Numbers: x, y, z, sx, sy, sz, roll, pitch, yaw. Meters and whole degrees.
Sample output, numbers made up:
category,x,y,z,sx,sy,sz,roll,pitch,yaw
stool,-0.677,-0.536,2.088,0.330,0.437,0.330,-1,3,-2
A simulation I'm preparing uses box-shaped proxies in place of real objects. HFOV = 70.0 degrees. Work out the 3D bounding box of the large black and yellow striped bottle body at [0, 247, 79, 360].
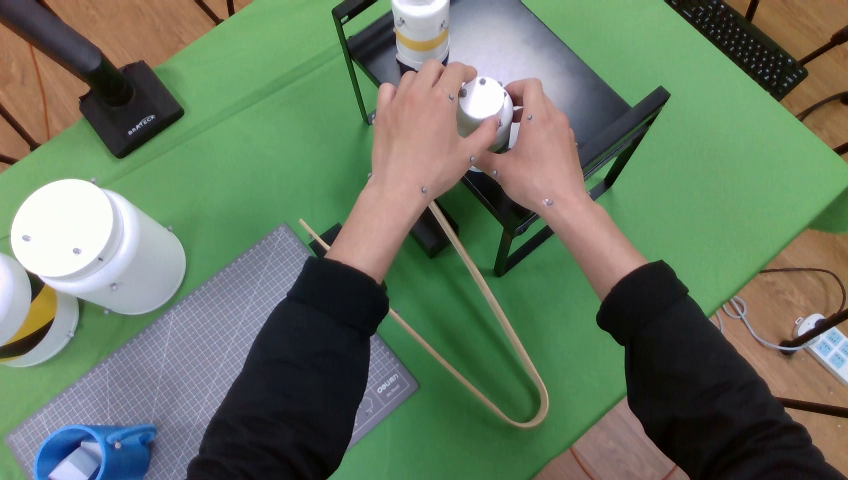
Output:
category,x,y,z,sx,sy,sz,roll,pitch,yaw
large black and yellow striped bottle body,-0.534,0.073,0.737,0.131,0.185,0.130,0,73,2

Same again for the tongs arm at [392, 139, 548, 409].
category,x,y,z,sx,sy,sz,roll,pitch,yaw
tongs arm,0.057,0.039,0.772,0.028,0.028,0.387,-30,87,-15

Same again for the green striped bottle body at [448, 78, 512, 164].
category,x,y,z,sx,sy,sz,roll,pitch,yaw
green striped bottle body,0.057,-0.126,0.618,0.063,0.120,0.063,-1,77,5

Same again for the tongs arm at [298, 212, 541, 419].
category,x,y,z,sx,sy,sz,roll,pitch,yaw
tongs arm,-0.006,0.089,0.757,0.050,0.026,0.384,-44,89,-12

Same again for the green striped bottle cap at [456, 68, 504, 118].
category,x,y,z,sx,sy,sz,roll,pitch,yaw
green striped bottle cap,0.053,-0.138,0.569,0.044,0.020,0.044,-1,85,6

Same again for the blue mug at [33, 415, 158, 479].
category,x,y,z,sx,sy,sz,roll,pitch,yaw
blue mug,-0.376,0.244,0.721,0.116,0.106,0.082,-32,75,-8

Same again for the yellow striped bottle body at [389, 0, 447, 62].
category,x,y,z,sx,sy,sz,roll,pitch,yaw
yellow striped bottle body,-0.006,-0.254,0.661,0.063,0.121,0.062,0,73,2

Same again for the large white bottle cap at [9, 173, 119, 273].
category,x,y,z,sx,sy,sz,roll,pitch,yaw
large white bottle cap,-0.399,-0.020,0.672,0.115,0.018,0.114,0,73,2

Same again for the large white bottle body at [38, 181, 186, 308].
category,x,y,z,sx,sy,sz,roll,pitch,yaw
large white bottle body,-0.395,0.006,0.753,0.130,0.185,0.130,0,73,2
